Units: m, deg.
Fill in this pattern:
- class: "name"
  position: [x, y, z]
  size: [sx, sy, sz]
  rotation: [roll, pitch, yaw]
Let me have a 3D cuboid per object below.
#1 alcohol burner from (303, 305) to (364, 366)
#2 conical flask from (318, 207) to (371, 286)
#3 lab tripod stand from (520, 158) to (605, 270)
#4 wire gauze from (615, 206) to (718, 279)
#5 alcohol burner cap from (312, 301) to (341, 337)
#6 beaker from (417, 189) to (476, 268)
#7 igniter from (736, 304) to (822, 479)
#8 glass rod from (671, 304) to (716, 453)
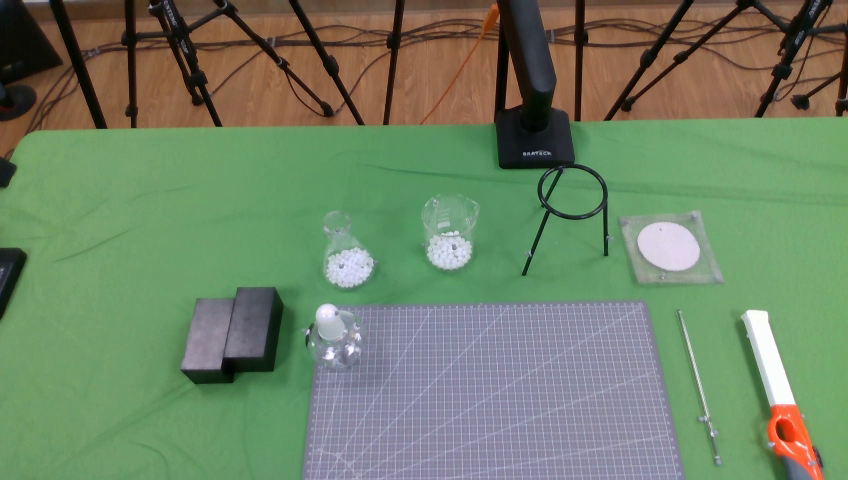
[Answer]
- class: "alcohol burner"
  position: [-0.117, 0.112, 0.759]
  size: [0.078, 0.120, 0.077]
  rotation: [-2, 58, 3]
- class: "conical flask"
  position: [-0.115, 0.005, 0.825]
  size: [0.075, 0.123, 0.074]
  rotation: [-1, 58, 2]
- class: "lab tripod stand"
  position: [0.188, -0.034, 0.833]
  size: [0.148, 0.132, 0.147]
  rotation: [-1, 60, 1]
- class: "wire gauze"
  position: [0.350, 0.003, 0.879]
  size: [0.125, 0.011, 0.120]
  rotation: [-2, 58, -1]
- class: "alcohol burner cap"
  position: [-0.119, 0.092, 0.729]
  size: [0.034, 0.048, 0.033]
  rotation: [0, 51, 1]
- class: "beaker"
  position: [0.032, -0.014, 0.846]
  size: [0.084, 0.101, 0.073]
  rotation: [-23, 60, -13]
- class: "igniter"
  position: [0.435, 0.206, 0.738]
  size: [0.057, 0.025, 0.274]
  rotation: [5, 58, -8]
- class: "glass rod"
  position: [0.343, 0.170, 0.774]
  size: [0.008, 0.008, 0.198]
  rotation: [-2, 58, 0]
